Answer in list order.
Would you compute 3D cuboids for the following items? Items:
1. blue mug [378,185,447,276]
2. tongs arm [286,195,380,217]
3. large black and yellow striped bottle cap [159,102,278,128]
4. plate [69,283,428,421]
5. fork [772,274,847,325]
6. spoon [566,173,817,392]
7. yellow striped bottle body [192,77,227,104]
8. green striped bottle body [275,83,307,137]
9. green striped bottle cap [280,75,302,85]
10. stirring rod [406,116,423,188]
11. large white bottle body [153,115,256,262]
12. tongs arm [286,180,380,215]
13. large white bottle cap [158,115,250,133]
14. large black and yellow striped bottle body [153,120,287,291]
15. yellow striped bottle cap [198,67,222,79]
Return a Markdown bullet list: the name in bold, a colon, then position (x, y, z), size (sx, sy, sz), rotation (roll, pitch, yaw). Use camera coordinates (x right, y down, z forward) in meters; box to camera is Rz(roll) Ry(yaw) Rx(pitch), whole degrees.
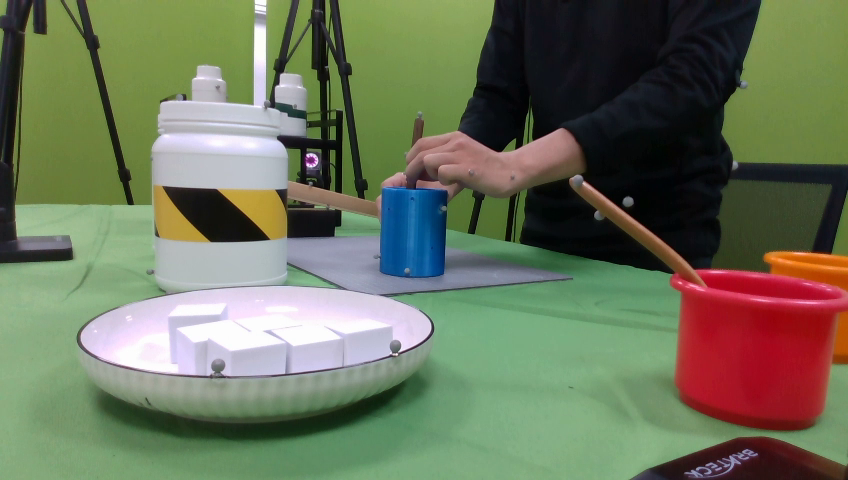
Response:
- **blue mug**: position (-0.019, -0.016, 0.764), size (0.083, 0.106, 0.116), rotation (0, 7, -19)
- **tongs arm**: position (-0.165, -0.075, 1.216), size (0.389, 0.027, 0.028), rotation (11, -6, -24)
- **large black and yellow striped bottle cap**: position (-0.207, -0.125, 0.615), size (0.115, 0.019, 0.115), rotation (2, 6, 0)
- **plate**: position (-0.102, 0.066, 0.381), size (0.208, 0.039, 0.207), rotation (2, 7, 0)
- **fork**: position (0.332, 0.019, 0.444), size (0.028, 0.018, 0.207), rotation (0, -36, -14)
- **spoon**: position (0.161, 0.024, 0.370), size (0.193, 0.021, 0.042), rotation (47, 17, 3)
- **yellow striped bottle body**: position (-0.414, -0.268, 1.169), size (0.063, 0.120, 0.063), rotation (2, 7, 0)
- **green striped bottle body**: position (-0.269, -0.269, 1.221), size (0.063, 0.119, 0.063), rotation (2, 7, 0)
- **green striped bottle cap**: position (-0.267, -0.320, 1.216), size (0.044, 0.020, 0.044), rotation (2, 9, 0)
- **stirring rod**: position (-0.017, -0.068, 0.762), size (0.014, 0.176, 0.006), rotation (16, 17, 33)
- **large white bottle body**: position (-0.293, -0.070, 0.813), size (0.131, 0.184, 0.130), rotation (2, 7, 0)
- **tongs arm**: position (-0.122, -0.066, 1.147), size (0.387, 0.026, 0.050), rotation (11, -2, -37)
- **large white bottle cap**: position (-0.291, -0.153, 0.803), size (0.115, 0.018, 0.115), rotation (1, 7, 0)
- **large black and yellow striped bottle body**: position (-0.208, -0.042, 0.626), size (0.131, 0.184, 0.130), rotation (2, 7, 0)
- **yellow striped bottle cap**: position (-0.412, -0.320, 1.162), size (0.044, 0.018, 0.044), rotation (0, 5, 0)
